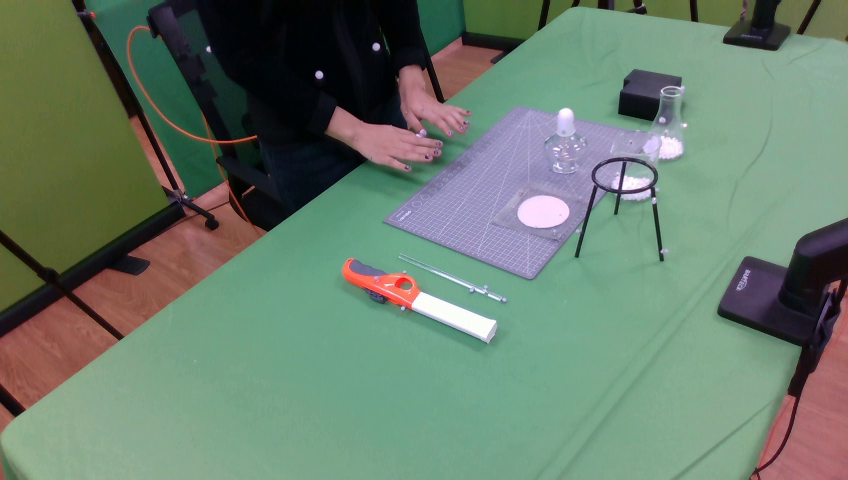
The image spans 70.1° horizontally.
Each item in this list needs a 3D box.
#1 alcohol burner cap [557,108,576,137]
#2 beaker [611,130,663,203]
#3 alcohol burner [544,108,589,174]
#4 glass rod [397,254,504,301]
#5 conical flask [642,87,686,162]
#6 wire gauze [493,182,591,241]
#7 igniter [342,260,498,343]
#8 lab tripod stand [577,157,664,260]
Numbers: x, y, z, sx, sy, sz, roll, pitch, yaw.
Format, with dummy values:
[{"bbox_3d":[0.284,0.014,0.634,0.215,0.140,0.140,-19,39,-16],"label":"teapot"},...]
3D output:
[{"bbox_3d":[0.246,-0.205,1.047,0.034,0.048,0.033,-8,44,8],"label":"alcohol burner cap"},{"bbox_3d":[0.346,-0.118,0.998,0.084,0.101,0.073,-17,40,-7],"label":"beaker"},{"bbox_3d":[0.252,-0.178,1.071,0.078,0.120,0.077,-7,40,6],"label":"alcohol burner"},{"bbox_3d":[0.036,0.054,0.923,0.198,0.008,0.008,22,50,31],"label":"glass rod"},{"bbox_3d":[0.429,-0.206,1.067,0.075,0.122,0.075,-6,40,6],"label":"conical flask"},{"bbox_3d":[0.198,-0.048,1.011,0.120,0.011,0.125,20,50,31],"label":"wire gauze"},{"bbox_3d":[-0.017,0.084,0.883,0.274,0.025,0.057,20,58,31],"label":"igniter"},{"bbox_3d":[0.292,-0.047,0.897,0.148,0.132,0.147,-7,38,6],"label":"lab tripod stand"}]
